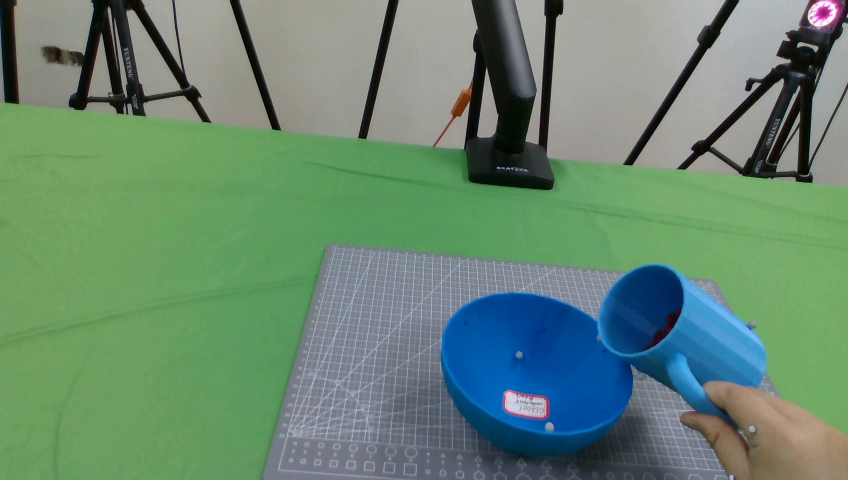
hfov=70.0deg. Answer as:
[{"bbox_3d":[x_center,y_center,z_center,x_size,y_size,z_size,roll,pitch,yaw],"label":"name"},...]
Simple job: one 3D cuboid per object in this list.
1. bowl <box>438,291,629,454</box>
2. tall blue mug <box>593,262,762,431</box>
[{"bbox_3d":[0.081,0.119,0.493,0.151,0.077,0.150,5,35,-4],"label":"bowl"},{"bbox_3d":[0.200,0.080,0.454,0.109,0.078,0.106,33,3,-26],"label":"tall blue mug"}]
